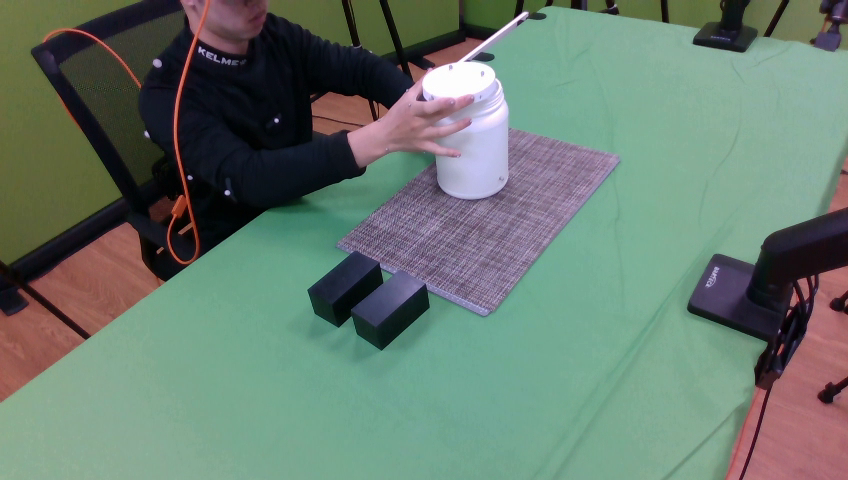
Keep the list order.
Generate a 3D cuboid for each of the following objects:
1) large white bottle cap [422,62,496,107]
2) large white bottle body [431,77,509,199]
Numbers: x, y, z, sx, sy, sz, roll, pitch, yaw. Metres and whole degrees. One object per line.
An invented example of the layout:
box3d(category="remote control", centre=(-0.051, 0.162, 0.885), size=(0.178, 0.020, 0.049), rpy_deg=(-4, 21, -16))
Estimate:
box3d(category="large white bottle cap", centre=(0.054, -0.242, 0.937), size=(0.115, 0.018, 0.114), rpy_deg=(-6, 41, 5))
box3d(category="large white bottle body", centre=(0.080, -0.178, 1.032), size=(0.130, 0.185, 0.130), rpy_deg=(-3, 40, 3))
